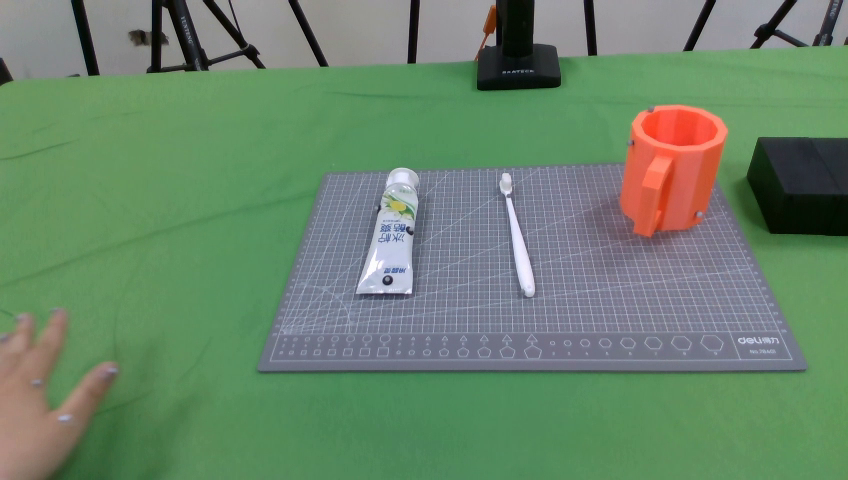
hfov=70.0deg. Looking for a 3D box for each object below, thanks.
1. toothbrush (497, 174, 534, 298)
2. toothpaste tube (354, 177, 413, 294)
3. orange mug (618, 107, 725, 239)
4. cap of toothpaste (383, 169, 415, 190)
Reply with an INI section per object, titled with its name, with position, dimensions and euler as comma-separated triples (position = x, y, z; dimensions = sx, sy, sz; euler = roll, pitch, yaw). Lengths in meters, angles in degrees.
[toothbrush]
position = 0.093, -0.010, 0.619
dimensions = 0.014, 0.017, 0.180
euler = 5, 42, -7
[toothpaste tube]
position = -0.036, -0.009, 0.626
dimensions = 0.055, 0.035, 0.163
euler = -5, 45, 9
[orange mug]
position = 0.237, -0.062, 0.599
dimensions = 0.083, 0.102, 0.126
euler = 19, 42, 27
[cap of toothpaste]
position = -0.028, -0.064, 0.678
dimensions = 0.037, 0.038, 0.011
euler = 2, 48, 8
